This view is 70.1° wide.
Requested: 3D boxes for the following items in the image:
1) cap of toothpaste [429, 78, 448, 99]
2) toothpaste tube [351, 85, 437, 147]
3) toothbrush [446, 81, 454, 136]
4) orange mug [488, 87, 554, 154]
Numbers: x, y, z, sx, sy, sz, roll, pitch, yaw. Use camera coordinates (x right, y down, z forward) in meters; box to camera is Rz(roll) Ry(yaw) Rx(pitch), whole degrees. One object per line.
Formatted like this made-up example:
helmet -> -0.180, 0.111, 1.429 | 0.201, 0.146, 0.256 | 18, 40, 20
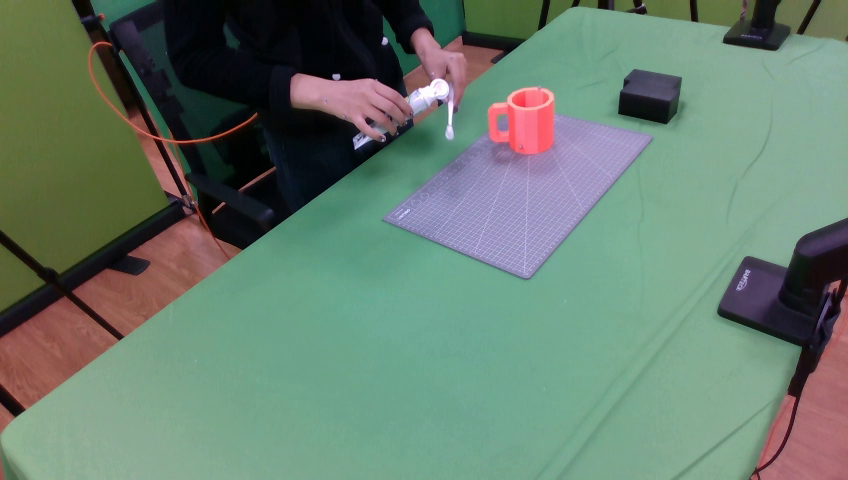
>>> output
cap of toothpaste -> 0.025, -0.258, 1.026 | 0.037, 0.037, 0.011 | -23, 2, -16
toothpaste tube -> -0.051, -0.210, 1.013 | 0.165, 0.035, 0.054 | -31, 27, 5
toothbrush -> 0.048, -0.251, 1.132 | 0.014, 0.017, 0.181 | -10, 42, 12
orange mug -> 0.185, -0.227, 1.151 | 0.126, 0.101, 0.083 | 1, 41, 5
